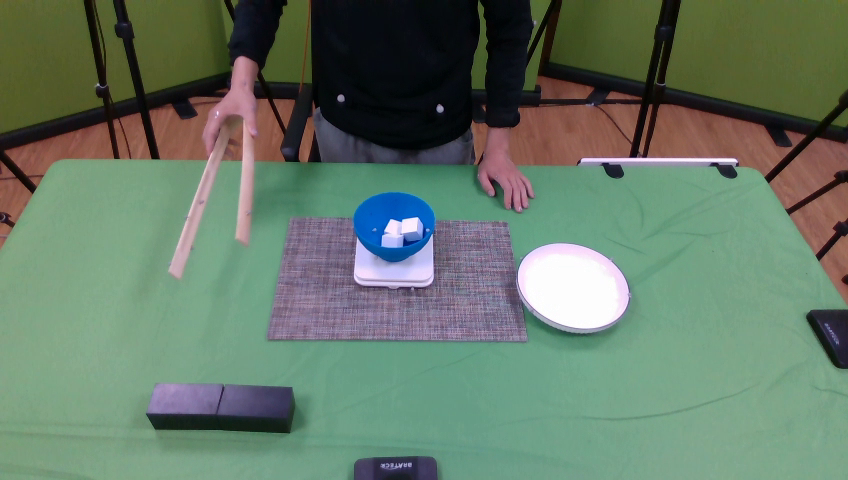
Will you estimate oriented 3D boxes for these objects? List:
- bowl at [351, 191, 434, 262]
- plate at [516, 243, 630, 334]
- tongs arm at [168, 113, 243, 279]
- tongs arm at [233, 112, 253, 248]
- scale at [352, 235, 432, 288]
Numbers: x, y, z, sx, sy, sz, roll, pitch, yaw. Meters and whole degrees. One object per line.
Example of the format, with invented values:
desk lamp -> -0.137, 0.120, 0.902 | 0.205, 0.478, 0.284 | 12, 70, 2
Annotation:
bowl -> -0.057, -0.013, 1.119 | 0.151, 0.077, 0.150 | 1, 46, -1
plate -> 0.271, 0.092, 1.120 | 0.208, 0.039, 0.206 | 2, 46, -2
tongs arm -> -0.388, -0.093, 1.095 | 0.051, 0.027, 0.382 | -22, 45, 22
tongs arm -> -0.321, -0.121, 1.072 | 0.028, 0.028, 0.385 | -33, 42, 16
scale -> -0.060, 0.010, 1.171 | 0.149, 0.032, 0.199 | 2, 46, -3
